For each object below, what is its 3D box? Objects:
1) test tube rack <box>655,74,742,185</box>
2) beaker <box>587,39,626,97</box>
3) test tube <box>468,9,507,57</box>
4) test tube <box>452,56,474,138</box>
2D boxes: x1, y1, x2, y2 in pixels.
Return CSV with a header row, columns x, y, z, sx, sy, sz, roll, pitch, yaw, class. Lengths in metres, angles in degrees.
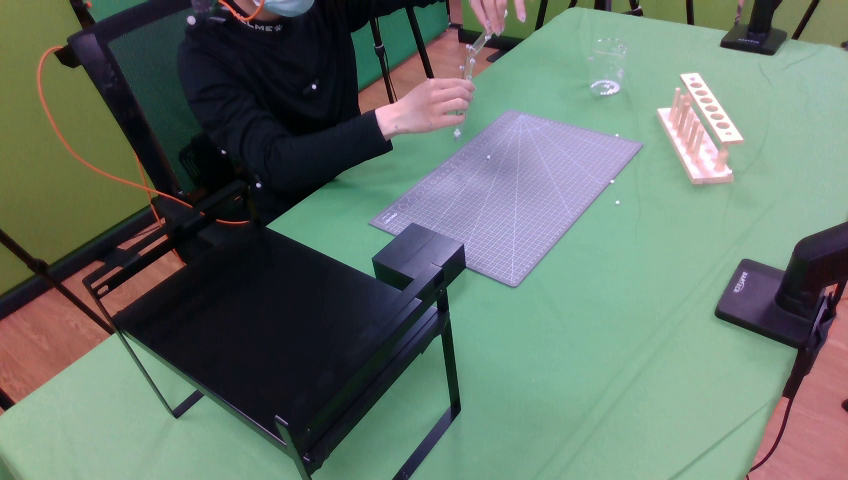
x,y,z,sx,sy,sz,roll,pitch,yaw,class
0.488,-0.205,1.093,0.067,0.085,0.241,-3,41,5,test tube rack
0.386,-0.361,1.280,0.074,0.101,0.083,-22,43,-15,beaker
0.114,-0.367,1.066,0.017,0.017,0.150,15,52,24,test tube
0.068,-0.251,1.071,0.017,0.150,0.017,6,34,-4,test tube
